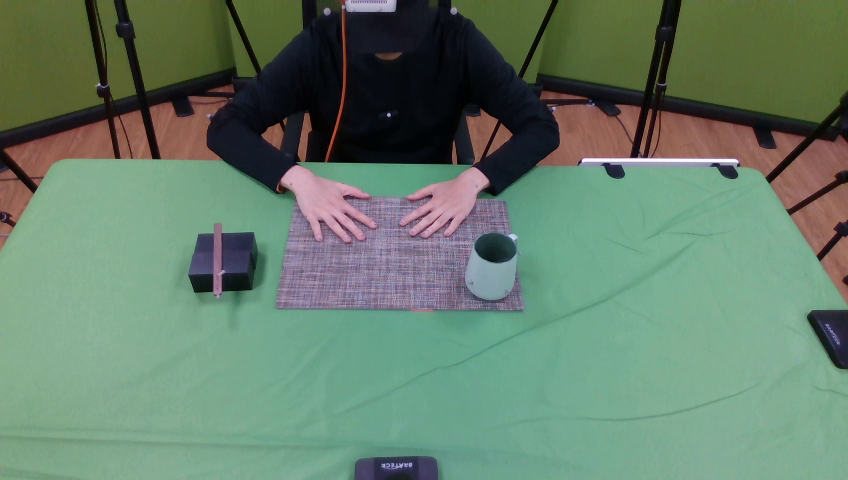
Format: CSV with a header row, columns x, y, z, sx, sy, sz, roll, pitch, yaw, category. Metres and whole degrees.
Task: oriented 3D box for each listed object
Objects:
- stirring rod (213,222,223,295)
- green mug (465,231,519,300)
x,y,z,sx,sy,sz,roll,pitch,yaw,category
-0.369,0.030,1.083,0.014,0.006,0.175,-9,48,-11,stirring rod
0.134,0.037,1.108,0.092,0.105,0.125,30,52,23,green mug
